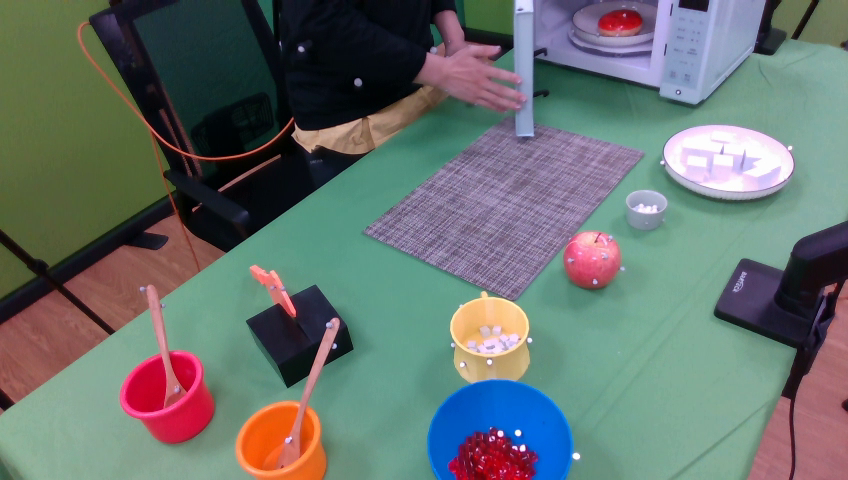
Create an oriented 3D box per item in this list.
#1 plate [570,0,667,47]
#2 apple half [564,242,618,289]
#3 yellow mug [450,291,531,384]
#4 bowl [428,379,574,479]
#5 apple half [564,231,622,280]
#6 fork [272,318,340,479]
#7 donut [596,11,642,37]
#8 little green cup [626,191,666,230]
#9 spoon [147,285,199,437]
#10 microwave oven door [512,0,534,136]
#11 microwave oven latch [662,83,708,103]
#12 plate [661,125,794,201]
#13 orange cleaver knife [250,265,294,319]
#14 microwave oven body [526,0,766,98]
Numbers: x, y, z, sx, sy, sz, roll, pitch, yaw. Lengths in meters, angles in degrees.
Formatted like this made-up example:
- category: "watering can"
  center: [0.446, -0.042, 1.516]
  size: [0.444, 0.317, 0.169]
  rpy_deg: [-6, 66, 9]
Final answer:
- category: "plate"
  center: [0.437, -0.485, 1.367]
  size: [0.209, 0.038, 0.208]
  rpy_deg: [-5, 41, 5]
- category: "apple half"
  center: [0.229, 0.044, 0.848]
  size: [0.081, 0.081, 0.033]
  rpy_deg: [16, 41, 26]
- category: "yellow mug"
  center: [0.085, 0.120, 0.786]
  size: [0.100, 0.064, 0.130]
  rpy_deg: [-7, 39, 1]
- category: "bowl"
  center: [0.082, 0.233, 0.644]
  size: [0.151, 0.077, 0.150]
  rpy_deg: [-4, 39, 4]
- category: "apple half"
  center: [0.248, 0.021, 0.874]
  size: [0.080, 0.075, 0.053]
  rpy_deg: [13, 40, 29]
- category: "fork"
  center: [-0.131, 0.186, 0.676]
  size: [0.028, 0.019, 0.207]
  rpy_deg: [17, 90, 28]
- category: "donut"
  center: [0.433, -0.479, 1.347]
  size: [0.099, 0.048, 0.098]
  rpy_deg: [-6, 39, 5]
- category: "little green cup"
  center: [0.352, -0.046, 0.963]
  size: [0.061, 0.039, 0.061]
  rpy_deg: [-4, 40, 4]
- category: "spoon"
  center: [-0.319, 0.148, 0.754]
  size: [0.042, 0.021, 0.193]
  rpy_deg: [-14, 85, -11]
- category: "microwave oven door"
  center: [0.200, -0.407, 1.225]
  size: [0.039, 0.245, 0.354]
  rpy_deg: [-1, 41, 8]
- category: "microwave oven latch"
  center: [0.518, -0.296, 1.204]
  size: [0.078, 0.029, 0.030]
  rpy_deg: [28, 52, 35]
- category: "plate"
  center: [0.513, -0.128, 1.035]
  size: [0.207, 0.039, 0.206]
  rpy_deg: [-4, 40, 4]
- category: "orange cleaver knife"
  center: [-0.222, 0.073, 0.876]
  size: [0.012, 0.077, 0.210]
  rpy_deg: [-24, 13, -22]
- category: "microwave oven body"
  center: [0.472, -0.513, 1.317]
  size: [0.438, 0.261, 0.327]
  rpy_deg: [25, 51, 34]
